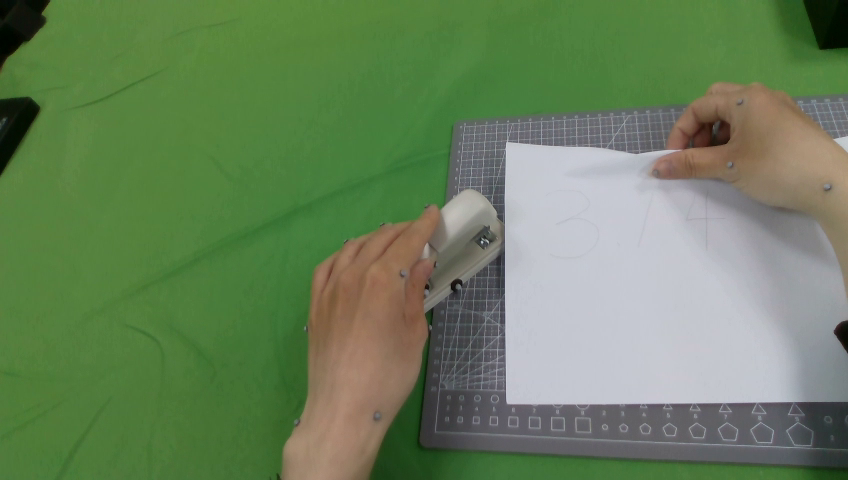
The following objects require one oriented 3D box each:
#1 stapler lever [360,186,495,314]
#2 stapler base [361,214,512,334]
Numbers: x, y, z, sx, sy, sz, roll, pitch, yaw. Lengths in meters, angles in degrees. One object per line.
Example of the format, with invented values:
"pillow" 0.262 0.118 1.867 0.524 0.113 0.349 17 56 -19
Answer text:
"stapler lever" 0.002 0.005 0.448 0.118 0.040 0.026 -37 55 -9
"stapler base" 0.009 0.017 0.470 0.130 0.025 0.041 -37 55 -9
